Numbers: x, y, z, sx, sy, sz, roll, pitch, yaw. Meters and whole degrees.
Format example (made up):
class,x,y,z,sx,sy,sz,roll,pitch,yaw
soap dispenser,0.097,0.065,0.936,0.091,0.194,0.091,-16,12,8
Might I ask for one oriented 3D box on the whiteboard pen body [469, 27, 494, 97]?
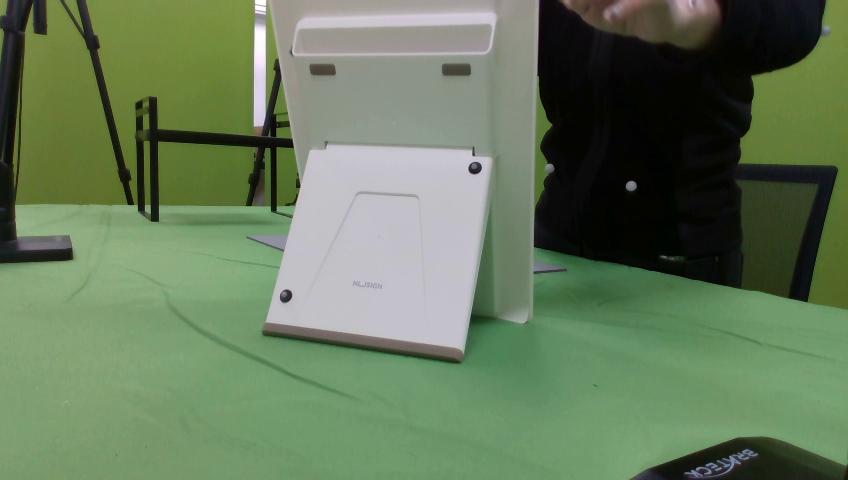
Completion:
class,x,y,z,sx,sy,sz,roll,pitch,yaw
whiteboard pen body,0.055,-0.171,0.579,0.017,0.017,0.140,2,41,-3

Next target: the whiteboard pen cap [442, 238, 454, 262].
class,x,y,z,sx,sy,sz,roll,pitch,yaw
whiteboard pen cap,0.033,0.014,0.851,0.018,0.033,0.018,3,5,0

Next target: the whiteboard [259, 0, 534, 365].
class,x,y,z,sx,sy,sz,roll,pitch,yaw
whiteboard,-0.037,-0.041,0.456,0.216,0.305,0.144,5,28,19
